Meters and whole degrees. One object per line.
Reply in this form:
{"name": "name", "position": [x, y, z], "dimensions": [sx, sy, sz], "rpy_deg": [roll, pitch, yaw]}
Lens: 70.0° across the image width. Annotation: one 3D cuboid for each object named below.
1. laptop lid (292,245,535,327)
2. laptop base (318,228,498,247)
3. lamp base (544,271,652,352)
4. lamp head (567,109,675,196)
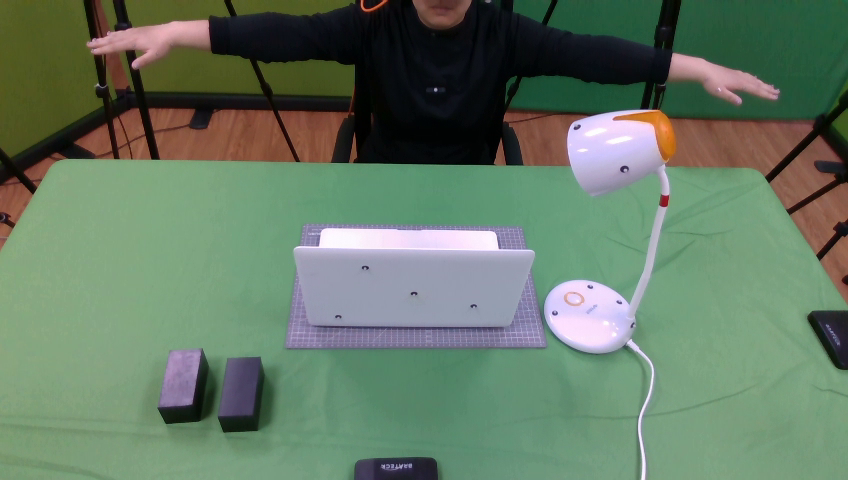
{"name": "laptop lid", "position": [-0.018, 0.080, 0.956], "dimensions": [0.357, 0.243, 0.013], "rpy_deg": [2, 54, -5]}
{"name": "laptop base", "position": [-0.028, 0.066, 1.134], "dimensions": [0.355, 0.023, 0.234], "rpy_deg": [1, 43, -4]}
{"name": "lamp base", "position": [0.310, 0.086, 1.029], "dimensions": [0.178, 0.181, 0.160], "rpy_deg": [32, 52, 21]}
{"name": "lamp head", "position": [0.272, -0.123, 0.818], "dimensions": [0.122, 0.113, 0.112], "rpy_deg": [-9, 35, 37]}
